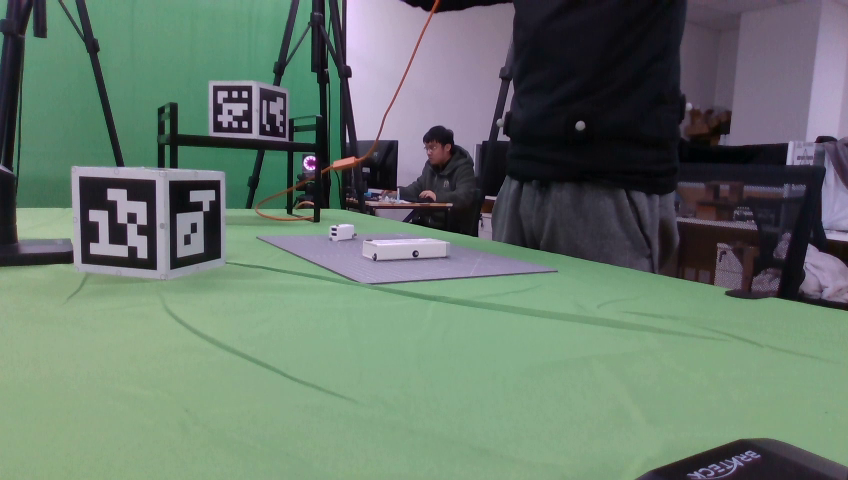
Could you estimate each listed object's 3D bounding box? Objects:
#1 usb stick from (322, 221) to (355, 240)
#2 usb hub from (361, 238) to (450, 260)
[{"bbox_3d":[-0.151,-0.016,1.058,0.021,0.027,0.059,-27,-13,40],"label":"usb stick"},{"bbox_3d":[-0.026,0.013,0.894,0.126,0.025,0.049,-2,7,-32],"label":"usb hub"}]
